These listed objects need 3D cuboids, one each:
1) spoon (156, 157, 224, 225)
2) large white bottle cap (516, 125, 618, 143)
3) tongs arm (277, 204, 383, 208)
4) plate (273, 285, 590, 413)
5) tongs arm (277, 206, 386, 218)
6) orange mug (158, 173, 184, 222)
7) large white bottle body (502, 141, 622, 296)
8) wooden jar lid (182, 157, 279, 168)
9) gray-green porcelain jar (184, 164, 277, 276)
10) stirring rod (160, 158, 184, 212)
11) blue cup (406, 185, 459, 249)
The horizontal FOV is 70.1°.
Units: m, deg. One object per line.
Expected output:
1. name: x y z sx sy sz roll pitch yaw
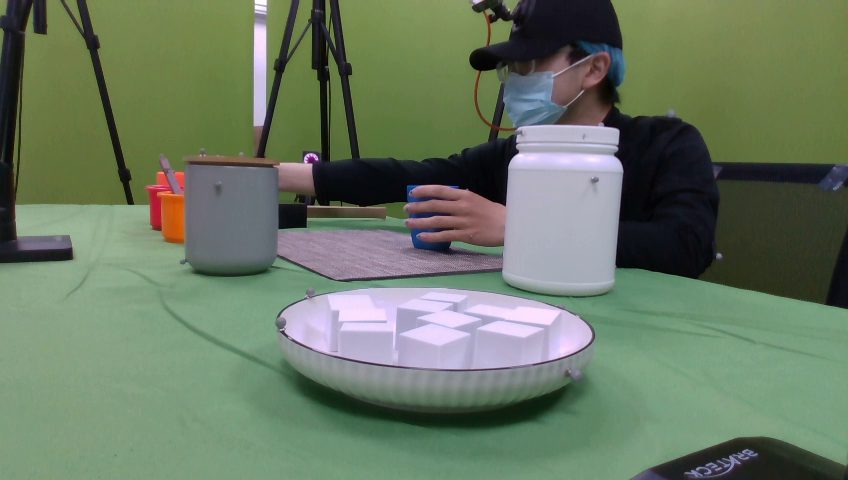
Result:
1. spoon: -0.425 -0.093 1.118 0.041 0.022 0.194 12 53 22
2. large white bottle cap: 0.163 -0.120 0.695 0.115 0.018 0.115 2 7 0
3. tongs arm: -0.288 -0.071 1.435 0.389 0.027 0.028 1 0 -17
4. plate: 0.004 0.069 0.408 0.208 0.039 0.207 2 7 0
5. tongs arm: -0.252 -0.063 1.360 0.387 0.026 0.050 -1 4 -31
6. orange mug: -0.477 -0.090 1.241 0.127 0.101 0.083 -8 12 -32
7. large white bottle body: 0.160 -0.037 0.706 0.131 0.184 0.130 2 7 0
8. wooden jar lid: -0.227 -0.086 0.714 0.108 0.020 0.108 1 6 0
9. gray-green porcelain jar: -0.230 -0.025 0.722 0.106 0.126 0.106 3 7 0
10. stirring rod: -0.391 -0.070 0.972 0.014 0.006 0.175 -3 51 -48
11. blue cup: 0.013 -0.038 0.970 0.093 0.100 0.092 0 6 0
